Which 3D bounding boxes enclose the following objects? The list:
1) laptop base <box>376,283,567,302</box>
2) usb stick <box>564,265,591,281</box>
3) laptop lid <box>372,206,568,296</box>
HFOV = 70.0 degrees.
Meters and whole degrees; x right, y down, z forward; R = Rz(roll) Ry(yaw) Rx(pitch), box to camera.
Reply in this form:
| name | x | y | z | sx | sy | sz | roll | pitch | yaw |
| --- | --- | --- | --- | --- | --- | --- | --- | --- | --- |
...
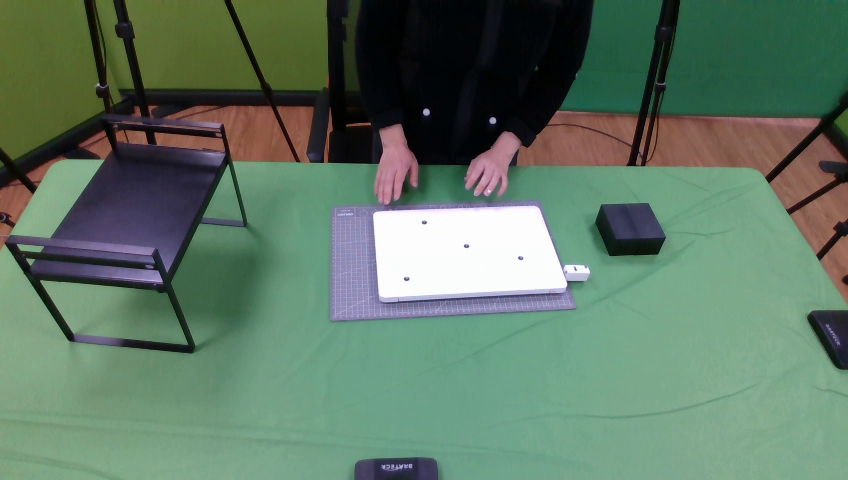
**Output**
| name | x | y | z | sx | sy | sz | roll | pitch | yaw |
| --- | --- | --- | --- | --- | --- | --- | --- | --- | --- |
| laptop base | 0.081 | 0.024 | 1.181 | 0.355 | 0.023 | 0.234 | -3 | 43 | -6 |
| usb stick | 0.282 | 0.062 | 1.143 | 0.059 | 0.027 | 0.021 | -1 | 46 | -6 |
| laptop lid | 0.081 | 0.014 | 1.174 | 0.357 | 0.013 | 0.240 | -1 | 44 | -5 |
